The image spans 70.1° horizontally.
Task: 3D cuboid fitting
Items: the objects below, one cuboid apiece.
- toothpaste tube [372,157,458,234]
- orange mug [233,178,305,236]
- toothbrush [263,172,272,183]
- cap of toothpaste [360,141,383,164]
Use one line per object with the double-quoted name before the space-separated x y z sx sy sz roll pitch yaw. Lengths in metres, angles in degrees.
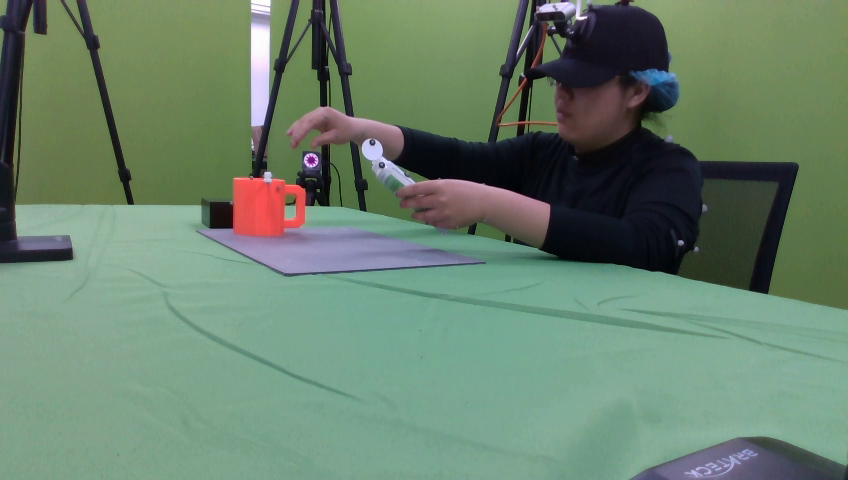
"toothpaste tube" -0.018 -0.076 0.966 0.034 0.165 0.055 -50 2 -34
"orange mug" -0.273 -0.061 1.067 0.127 0.101 0.083 -5 10 -24
"toothbrush" -0.273 -0.112 1.055 0.014 0.016 0.181 -7 9 -13
"cap of toothpaste" -0.082 -0.137 0.944 0.037 0.037 0.011 0 1 -18
